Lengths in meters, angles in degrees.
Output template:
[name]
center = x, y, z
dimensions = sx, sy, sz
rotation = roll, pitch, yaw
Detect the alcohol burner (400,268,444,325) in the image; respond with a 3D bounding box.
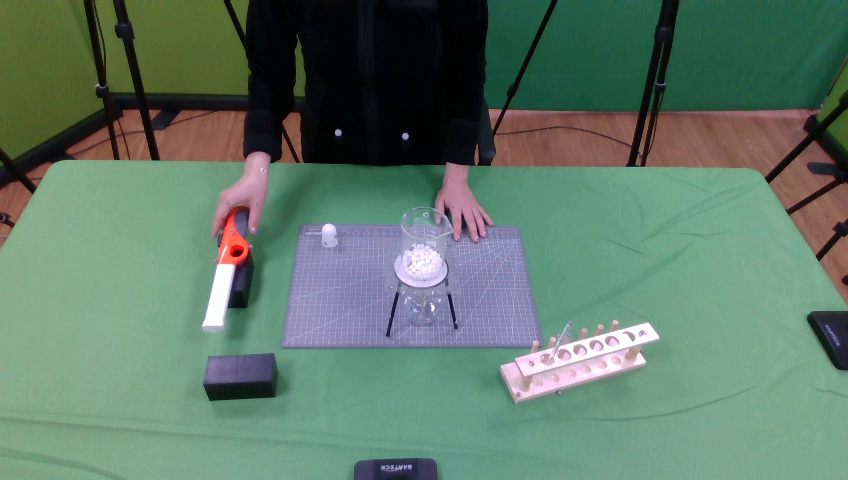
[alcohol burner]
center = -0.003, 0.092, 1.042
dimensions = 0.078, 0.120, 0.077
rotation = 1, 46, -1

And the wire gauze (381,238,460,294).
[wire gauze]
center = -0.007, 0.042, 0.985
dimensions = 0.125, 0.011, 0.120
rotation = -1, 43, -2

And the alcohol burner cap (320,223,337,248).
[alcohol burner cap]
center = -0.187, -0.011, 1.176
dimensions = 0.034, 0.048, 0.033
rotation = 1, 46, -1

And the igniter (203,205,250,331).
[igniter]
center = -0.345, 0.039, 1.065
dimensions = 0.057, 0.025, 0.274
rotation = 2, 48, -6

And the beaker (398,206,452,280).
[beaker]
center = 0.000, 0.008, 0.950
dimensions = 0.084, 0.101, 0.073
rotation = 10, 45, 6

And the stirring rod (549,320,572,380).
[stirring rod]
center = 0.202, 0.167, 0.901
dimensions = 0.006, 0.177, 0.014
rotation = -16, 55, -10

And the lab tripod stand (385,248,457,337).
[lab tripod stand]
center = -0.010, 0.087, 1.032
dimensions = 0.148, 0.132, 0.147
rotation = 1, 45, -1

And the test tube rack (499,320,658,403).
[test tube rack]
center = 0.252, 0.187, 0.994
dimensions = 0.243, 0.085, 0.066
rotation = -12, 48, -15
